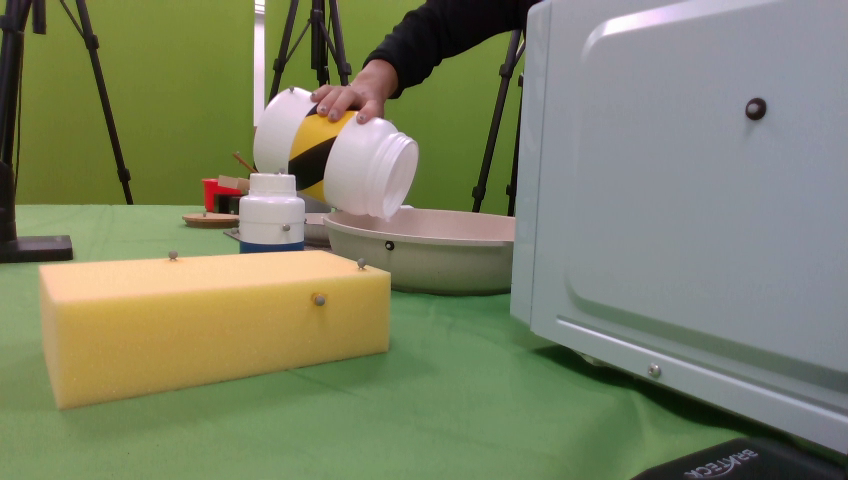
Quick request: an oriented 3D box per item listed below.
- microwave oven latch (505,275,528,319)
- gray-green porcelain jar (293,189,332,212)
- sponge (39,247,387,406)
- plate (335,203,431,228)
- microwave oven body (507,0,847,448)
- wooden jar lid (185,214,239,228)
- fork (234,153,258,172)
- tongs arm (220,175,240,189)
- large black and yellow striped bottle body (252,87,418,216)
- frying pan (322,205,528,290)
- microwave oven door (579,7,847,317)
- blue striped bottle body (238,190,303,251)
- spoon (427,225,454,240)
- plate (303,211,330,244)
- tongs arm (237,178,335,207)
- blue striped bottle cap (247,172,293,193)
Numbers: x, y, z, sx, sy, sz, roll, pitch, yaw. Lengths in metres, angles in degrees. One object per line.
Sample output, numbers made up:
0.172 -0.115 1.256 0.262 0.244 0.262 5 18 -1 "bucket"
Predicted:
0.100 0.042 0.471 0.079 0.029 0.030 -2 7 -29 "microwave oven latch"
-0.238 -0.092 1.221 0.106 0.126 0.106 2 7 0 "gray-green porcelain jar"
-0.142 0.047 0.420 0.208 0.061 0.117 -3 10 -36 "sponge"
-0.089 -0.053 1.309 0.208 0.039 0.207 2 8 0 "plate"
0.331 -0.042 0.425 0.444 0.260 0.324 -2 8 -31 "microwave oven body"
-0.404 -0.037 1.169 0.108 0.020 0.108 3 7 0 "wooden jar lid"
-0.396 -0.143 1.486 0.028 0.018 0.208 19 -26 44 "fork"
-0.285 -0.106 1.445 0.389 0.027 0.028 10 -3 -23 "tongs arm"
-0.113 -0.113 0.794 0.183 0.130 0.131 21 12 13 "large black and yellow striped bottle body"
0.109 -0.018 0.800 0.490 0.102 0.305 -12 16 -30 "frying pan"
0.294 -0.067 0.570 0.358 0.243 0.039 -3 9 -31 "microwave oven door"
-0.153 -0.007 0.605 0.063 0.120 0.063 2 7 0 "blue striped bottle body"
0.024 -0.019 1.125 0.042 0.021 0.193 -16 9 -5 "spoon"
-0.139 -0.022 1.021 0.209 0.038 0.209 2 8 0 "plate"
-0.242 -0.095 1.374 0.387 0.026 0.050 9 1 -37 "tongs arm"
-0.152 -0.057 0.598 0.044 0.020 0.044 3 6 0 "blue striped bottle cap"
